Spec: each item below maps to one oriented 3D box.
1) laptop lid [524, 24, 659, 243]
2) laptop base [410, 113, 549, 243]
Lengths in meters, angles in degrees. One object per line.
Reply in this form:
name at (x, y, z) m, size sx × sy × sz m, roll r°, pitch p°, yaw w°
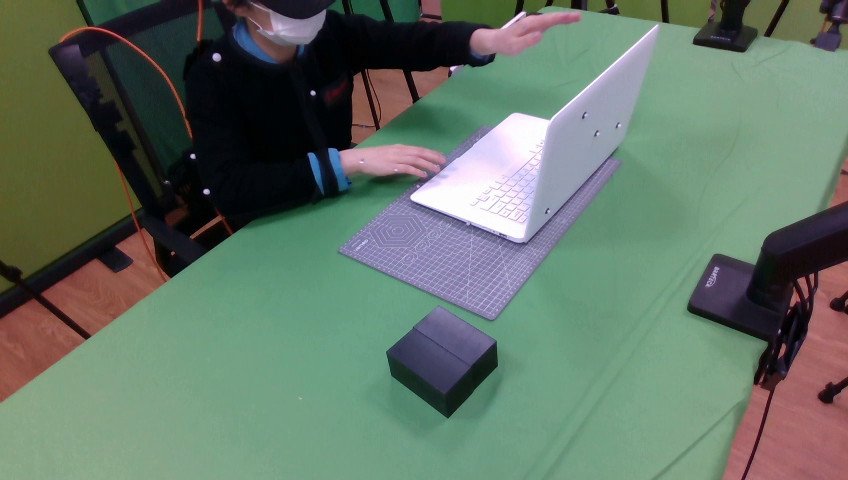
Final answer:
laptop lid at (0.266, -0.170, 0.949) m, size 0.013 × 0.242 × 0.358 m, roll 30°, pitch 50°, yaw 25°
laptop base at (0.171, -0.126, 1.096) m, size 0.233 × 0.023 × 0.355 m, roll 21°, pitch 47°, yaw 33°
